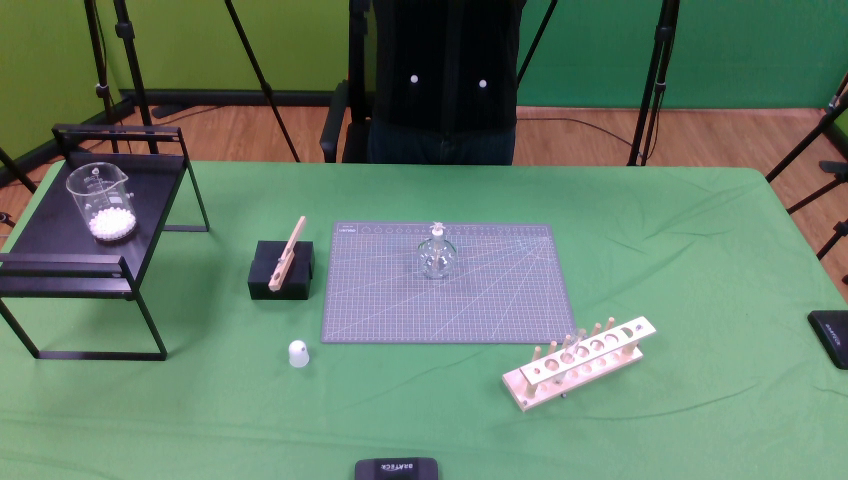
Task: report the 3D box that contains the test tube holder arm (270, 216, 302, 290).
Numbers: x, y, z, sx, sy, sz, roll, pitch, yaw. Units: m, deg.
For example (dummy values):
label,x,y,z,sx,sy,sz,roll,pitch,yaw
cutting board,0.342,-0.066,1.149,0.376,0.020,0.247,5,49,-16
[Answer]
label,x,y,z,sx,sy,sz,roll,pitch,yaw
test tube holder arm,-0.248,0.019,1.095,0.013,0.015,0.177,7,45,1

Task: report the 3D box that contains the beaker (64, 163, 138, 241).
label,x,y,z,sx,sy,sz,roll,pitch,yaw
beaker,-0.477,-0.055,0.910,0.084,0.101,0.073,-9,48,-13

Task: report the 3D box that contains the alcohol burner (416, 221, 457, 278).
label,x,y,z,sx,sy,sz,roll,pitch,yaw
alcohol burner,0.024,0.013,1.116,0.078,0.120,0.077,1,45,-1

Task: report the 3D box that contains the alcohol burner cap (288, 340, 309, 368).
label,x,y,z,sx,sy,sz,roll,pitch,yaw
alcohol burner cap,-0.207,0.183,0.991,0.034,0.048,0.033,3,47,-3

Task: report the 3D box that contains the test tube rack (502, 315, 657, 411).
label,x,y,z,sx,sy,sz,roll,pitch,yaw
test tube rack,0.253,0.186,0.988,0.242,0.085,0.066,-18,50,-20

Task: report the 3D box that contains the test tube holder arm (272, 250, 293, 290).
label,x,y,z,sx,sy,sz,roll,pitch,yaw
test tube holder arm,-0.248,0.051,1.063,0.010,0.015,0.087,8,45,3

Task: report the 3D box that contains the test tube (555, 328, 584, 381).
label,x,y,z,sx,sy,sz,roll,pitch,yaw
test tube,0.221,0.178,0.926,0.017,0.151,0.017,0,51,0
